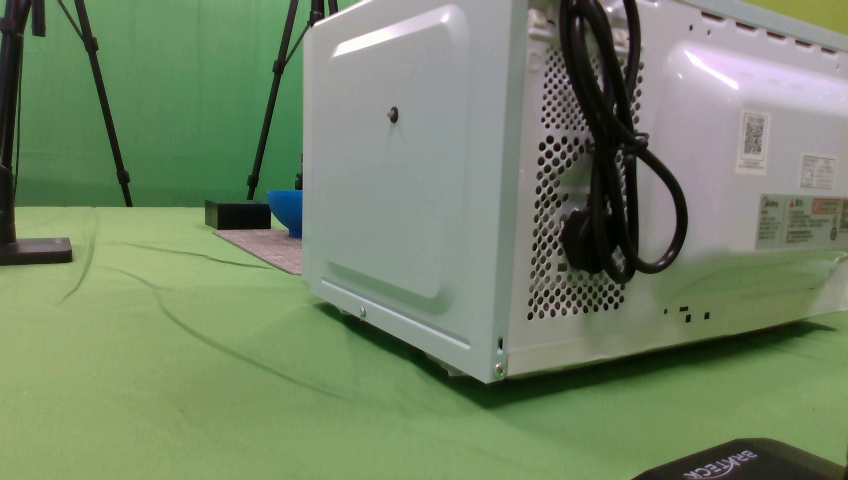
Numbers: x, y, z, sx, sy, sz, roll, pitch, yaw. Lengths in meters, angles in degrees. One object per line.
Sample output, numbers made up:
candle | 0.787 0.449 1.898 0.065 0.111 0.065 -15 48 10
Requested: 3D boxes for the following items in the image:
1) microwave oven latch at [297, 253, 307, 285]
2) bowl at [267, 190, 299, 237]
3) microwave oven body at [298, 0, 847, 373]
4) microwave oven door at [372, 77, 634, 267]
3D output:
microwave oven latch | -0.082 0.027 0.583 0.079 0.029 0.030 -1 7 -33
bowl | -0.202 -0.046 1.069 0.151 0.077 0.151 3 7 0
microwave oven body | 0.151 -0.055 0.543 0.444 0.260 0.324 -1 7 -33
microwave oven door | 0.096 -0.099 0.837 0.355 0.243 0.039 5 8 20
